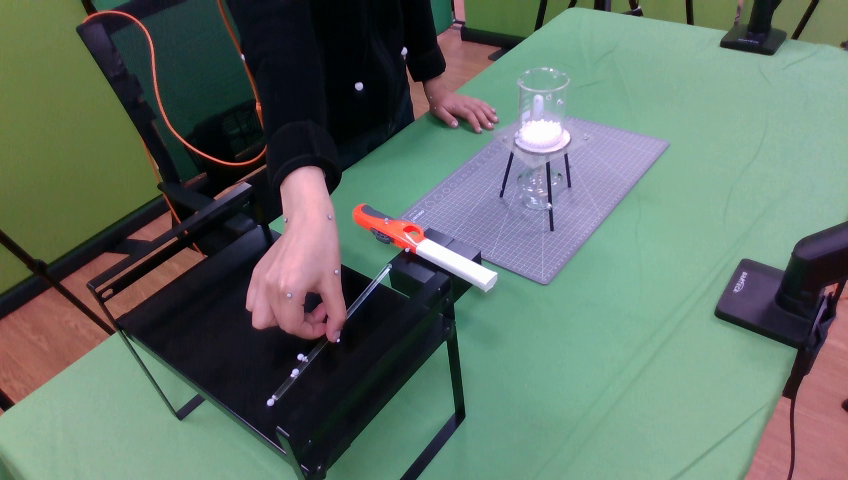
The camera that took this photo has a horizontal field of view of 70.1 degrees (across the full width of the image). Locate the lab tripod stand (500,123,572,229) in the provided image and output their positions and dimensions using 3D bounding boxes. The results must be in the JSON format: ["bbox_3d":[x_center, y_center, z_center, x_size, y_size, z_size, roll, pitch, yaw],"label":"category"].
[{"bbox_3d":[0.194,-0.110,0.985,0.148,0.132,0.147,-3,42,3],"label":"lab tripod stand"}]

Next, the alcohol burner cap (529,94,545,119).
[{"bbox_3d":[0.233,-0.277,1.247,0.034,0.048,0.033,-5,41,5],"label":"alcohol burner cap"}]

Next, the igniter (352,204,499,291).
[{"bbox_3d":[-0.009,0.005,0.895,0.274,0.025,0.057,27,48,32],"label":"igniter"}]

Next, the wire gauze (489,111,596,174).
[{"bbox_3d":[0.183,-0.159,0.944,0.122,0.011,0.124,-25,47,-17],"label":"wire gauze"}]

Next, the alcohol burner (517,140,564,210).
[{"bbox_3d":[0.193,-0.110,1.001,0.078,0.119,0.077,-5,39,5],"label":"alcohol burner"}]

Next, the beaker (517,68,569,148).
[{"bbox_3d":[0.180,-0.198,0.914,0.073,0.100,0.084,25,49,31],"label":"beaker"}]

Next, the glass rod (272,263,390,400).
[{"bbox_3d":[-0.089,0.086,0.618,0.008,0.008,0.200,16,46,26],"label":"glass rod"}]
